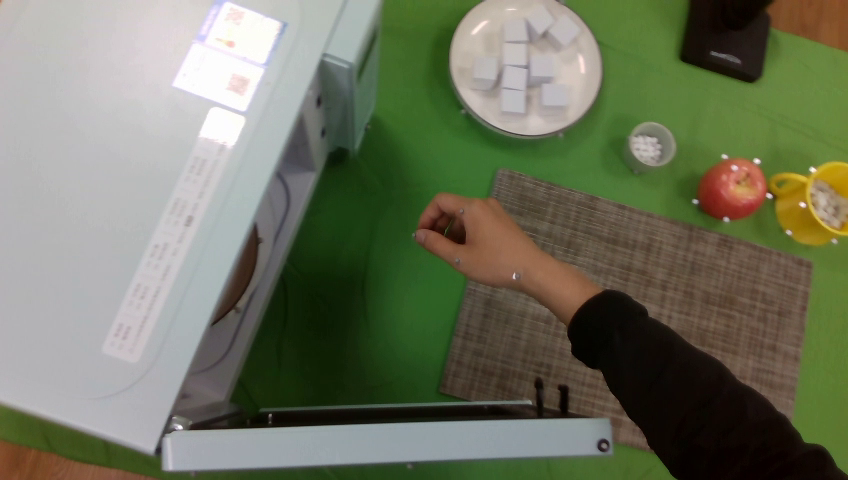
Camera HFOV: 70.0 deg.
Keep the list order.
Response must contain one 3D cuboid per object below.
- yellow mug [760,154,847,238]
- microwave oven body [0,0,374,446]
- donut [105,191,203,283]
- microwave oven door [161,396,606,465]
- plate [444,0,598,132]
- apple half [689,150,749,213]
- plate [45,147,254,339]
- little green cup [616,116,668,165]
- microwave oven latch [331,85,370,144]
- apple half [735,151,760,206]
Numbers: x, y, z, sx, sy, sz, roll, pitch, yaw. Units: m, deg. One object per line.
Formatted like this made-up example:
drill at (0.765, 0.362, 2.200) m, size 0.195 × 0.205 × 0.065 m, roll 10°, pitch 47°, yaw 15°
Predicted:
yellow mug at (0.515, -0.064, 0.811) m, size 0.131 × 0.064 × 0.099 m, roll 27°, pitch 77°, yaw 0°
microwave oven body at (-0.276, -0.065, 0.615) m, size 0.326 × 0.260 × 0.440 m, roll 19°, pitch 78°, yaw -3°
donut at (-0.286, -0.002, 0.643) m, size 0.099 × 0.048 × 0.098 m, roll 1°, pitch 81°, yaw -7°
microwave oven door at (-0.037, 0.179, 0.592) m, size 0.356 × 0.244 × 0.039 m, roll 0°, pitch 78°, yaw -7°
plate at (0.128, -0.239, 0.813) m, size 0.208 × 0.039 × 0.206 m, roll 1°, pitch 79°, yaw -6°
apple half at (0.379, -0.073, 0.794) m, size 0.053 × 0.075 × 0.080 m, roll -10°, pitch 84°, yaw -3°
plate at (-0.290, 0.003, 0.654) m, size 0.209 × 0.038 × 0.208 m, roll 1°, pitch 80°, yaw -7°
little green cup at (0.289, -0.131, 0.812) m, size 0.061 × 0.039 × 0.061 m, roll 1°, pitch 79°, yaw -6°
microwave oven latch at (-0.091, -0.162, 0.753) m, size 0.030 × 0.029 × 0.079 m, roll 22°, pitch 78°, yaw -2°
apple half at (0.417, -0.080, 0.798) m, size 0.033 × 0.081 × 0.081 m, roll -11°, pitch 80°, yaw -4°
